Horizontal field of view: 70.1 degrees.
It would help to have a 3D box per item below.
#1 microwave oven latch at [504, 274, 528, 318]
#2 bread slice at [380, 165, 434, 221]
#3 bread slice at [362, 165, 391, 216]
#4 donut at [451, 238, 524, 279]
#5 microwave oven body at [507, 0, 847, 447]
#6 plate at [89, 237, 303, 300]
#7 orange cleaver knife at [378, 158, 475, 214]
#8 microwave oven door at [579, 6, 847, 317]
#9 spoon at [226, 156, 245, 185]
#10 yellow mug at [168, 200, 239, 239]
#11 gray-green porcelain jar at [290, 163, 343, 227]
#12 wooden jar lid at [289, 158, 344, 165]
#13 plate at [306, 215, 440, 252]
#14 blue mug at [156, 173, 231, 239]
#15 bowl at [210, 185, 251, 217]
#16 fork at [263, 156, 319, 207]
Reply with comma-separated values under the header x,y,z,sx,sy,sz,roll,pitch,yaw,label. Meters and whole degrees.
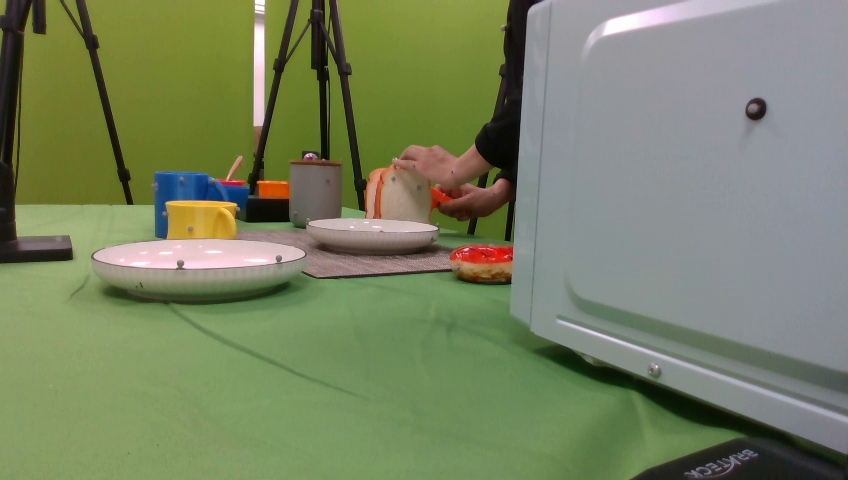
x,y,z,sx,sy,sz,roll,pitch,yaw,label
0.100,0.041,0.471,0.079,0.029,0.030,-1,8,-28,microwave oven latch
-0.034,-0.072,1.119,0.107,0.134,0.018,-5,9,-19,bread slice
-0.068,-0.081,1.194,0.105,0.131,0.019,5,8,-26,bread slice
0.083,0.022,0.745,0.099,0.048,0.099,1,5,0,donut
0.331,-0.042,0.425,0.444,0.260,0.324,-2,8,-31,microwave oven body
-0.233,0.029,0.637,0.208,0.039,0.207,2,7,0,plate
0.007,-0.089,1.202,0.212,0.077,0.012,28,1,-25,orange cleaver knife
0.294,-0.067,0.570,0.358,0.243,0.039,-3,9,-31,microwave oven door
-0.477,-0.145,1.492,0.041,0.022,0.193,0,51,12,spoon
-0.319,-0.023,0.904,0.130,0.064,0.100,9,11,36,yellow mug
-0.217,-0.091,1.221,0.106,0.126,0.106,2,7,0,gray-green porcelain jar
-0.215,-0.152,1.212,0.108,0.020,0.108,2,5,0,wooden jar lid
-0.079,-0.011,0.950,0.209,0.038,0.209,2,8,0,plate
-0.381,-0.057,1.004,0.117,0.106,0.082,1,8,-12,blue mug
-0.408,-0.064,1.154,0.151,0.077,0.151,2,8,0,bowl
-0.331,-0.144,1.505,0.207,0.018,0.028,-42,-20,22,fork
